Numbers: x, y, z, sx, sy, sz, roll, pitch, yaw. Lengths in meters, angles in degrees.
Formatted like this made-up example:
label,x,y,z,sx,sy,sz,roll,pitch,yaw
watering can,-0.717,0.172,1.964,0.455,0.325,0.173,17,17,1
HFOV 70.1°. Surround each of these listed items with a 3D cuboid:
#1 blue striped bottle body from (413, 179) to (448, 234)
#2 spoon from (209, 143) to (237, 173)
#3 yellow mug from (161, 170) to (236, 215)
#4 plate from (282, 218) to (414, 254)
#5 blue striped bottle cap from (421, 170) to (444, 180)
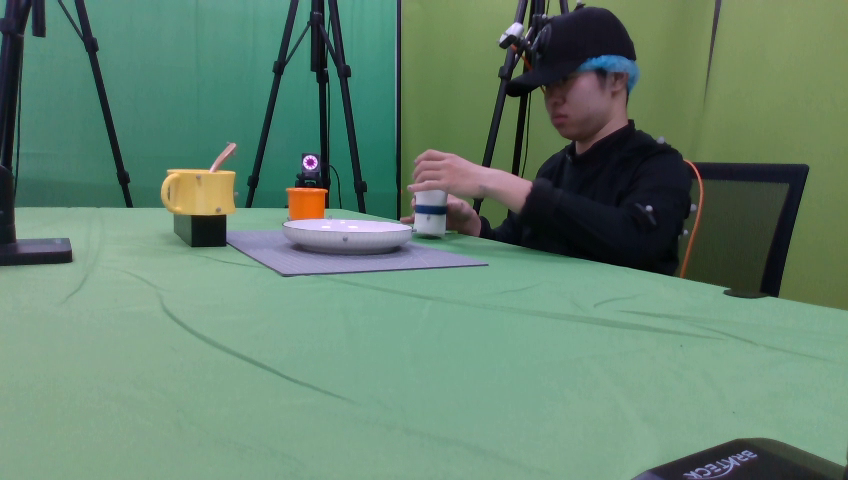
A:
label,x,y,z,sx,sy,sz,roll,pitch,yaw
blue striped bottle body,0.013,-0.074,1.169,0.063,0.120,0.063,4,7,0
spoon,-0.341,-0.113,0.990,0.041,0.021,0.193,1,39,6
yellow mug,-0.353,-0.074,0.935,0.099,0.064,0.131,5,9,21
plate,-0.121,-0.007,0.971,0.208,0.039,0.207,2,7,0
blue striped bottle cap,0.016,-0.124,1.165,0.044,0.020,0.044,4,9,0
